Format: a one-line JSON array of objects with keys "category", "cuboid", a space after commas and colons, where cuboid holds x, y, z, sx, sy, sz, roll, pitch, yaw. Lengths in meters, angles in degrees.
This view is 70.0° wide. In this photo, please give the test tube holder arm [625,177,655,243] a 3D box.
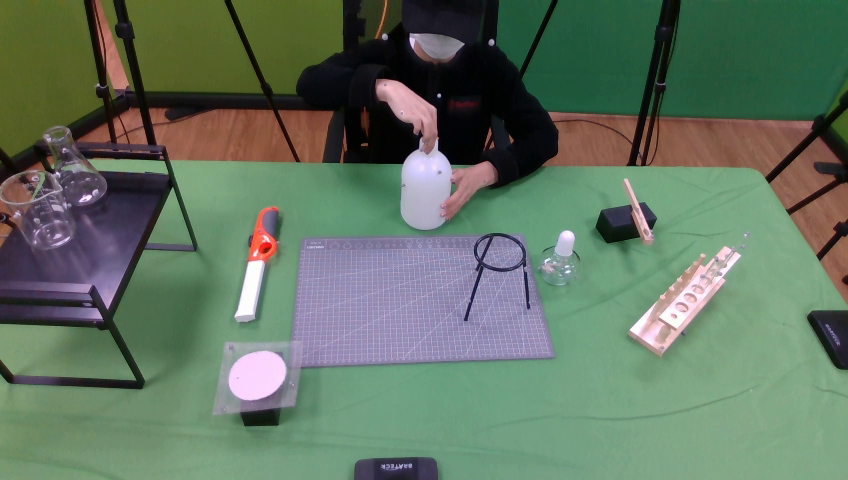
[{"category": "test tube holder arm", "cuboid": [0.433, -0.062, 1.220, 0.013, 0.015, 0.177, 1, 47, -3]}]

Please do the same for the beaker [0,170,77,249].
[{"category": "beaker", "cuboid": [-0.562, -0.042, 0.894, 0.084, 0.101, 0.073, -2, 47, -7]}]

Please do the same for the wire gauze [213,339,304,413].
[{"category": "wire gauze", "cuboid": [-0.250, 0.203, 0.925, 0.121, 0.011, 0.124, -1, 46, -3]}]

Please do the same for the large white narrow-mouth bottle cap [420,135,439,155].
[{"category": "large white narrow-mouth bottle cap", "cuboid": [0.011, -0.178, 1.128, 0.038, 0.024, 0.037, 2, 46, -2]}]

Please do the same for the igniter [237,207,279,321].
[{"category": "igniter", "cuboid": [-0.309, 0.035, 1.136, 0.057, 0.025, 0.274, -7, 45, 4]}]

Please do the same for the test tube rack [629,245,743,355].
[{"category": "test tube rack", "cuboid": [0.474, 0.095, 1.091, 0.242, 0.085, 0.066, -34, 56, -31]}]

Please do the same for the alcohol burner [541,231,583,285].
[{"category": "alcohol burner", "cuboid": [0.258, 0.028, 1.123, 0.078, 0.120, 0.077, 1, 48, -1]}]

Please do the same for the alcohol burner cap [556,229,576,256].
[{"category": "alcohol burner cap", "cuboid": [0.260, 0.002, 1.098, 0.034, 0.048, 0.033, 3, 40, -2]}]

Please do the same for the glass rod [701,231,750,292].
[{"category": "glass rod", "cuboid": [0.519, 0.045, 1.050, 0.008, 0.201, 0.008, 0, 55, 0]}]

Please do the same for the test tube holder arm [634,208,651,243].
[{"category": "test tube holder arm", "cuboid": [0.428, -0.030, 1.189, 0.010, 0.015, 0.087, 1, 47, -2]}]

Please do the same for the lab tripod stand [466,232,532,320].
[{"category": "lab tripod stand", "cuboid": [0.125, 0.059, 1.065, 0.148, 0.132, 0.147, 1, 45, 0]}]

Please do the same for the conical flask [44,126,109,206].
[{"category": "conical flask", "cuboid": [-0.554, -0.119, 0.953, 0.075, 0.122, 0.075, 2, 46, -2]}]

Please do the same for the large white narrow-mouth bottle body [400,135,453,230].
[{"category": "large white narrow-mouth bottle body", "cuboid": [0.005, -0.119, 1.191, 0.102, 0.195, 0.101, 2, 46, -2]}]

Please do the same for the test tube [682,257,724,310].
[{"category": "test tube", "cuboid": [0.475, 0.080, 1.037, 0.017, 0.151, 0.017, 2, 51, -2]}]
